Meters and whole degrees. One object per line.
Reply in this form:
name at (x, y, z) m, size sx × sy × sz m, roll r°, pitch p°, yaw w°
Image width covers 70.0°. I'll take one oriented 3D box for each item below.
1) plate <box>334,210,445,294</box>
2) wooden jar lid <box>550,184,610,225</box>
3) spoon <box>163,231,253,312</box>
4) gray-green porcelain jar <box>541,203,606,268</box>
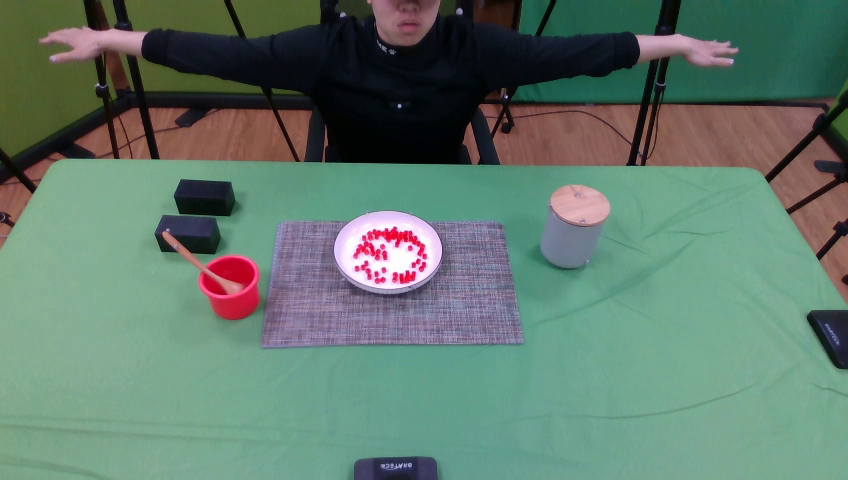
plate at (-0.066, 0.026, 1.150) m, size 0.208 × 0.039 × 0.206 m, roll 2°, pitch 46°, yaw -2°
wooden jar lid at (0.286, -0.061, 1.114) m, size 0.108 × 0.021 × 0.107 m, roll 0°, pitch 46°, yaw 0°
spoon at (-0.364, 0.054, 1.025) m, size 0.194 × 0.021 × 0.041 m, roll 43°, pitch 49°, yaw -17°
gray-green porcelain jar at (0.283, -0.017, 1.160) m, size 0.106 × 0.127 × 0.105 m, roll 2°, pitch 46°, yaw -2°
